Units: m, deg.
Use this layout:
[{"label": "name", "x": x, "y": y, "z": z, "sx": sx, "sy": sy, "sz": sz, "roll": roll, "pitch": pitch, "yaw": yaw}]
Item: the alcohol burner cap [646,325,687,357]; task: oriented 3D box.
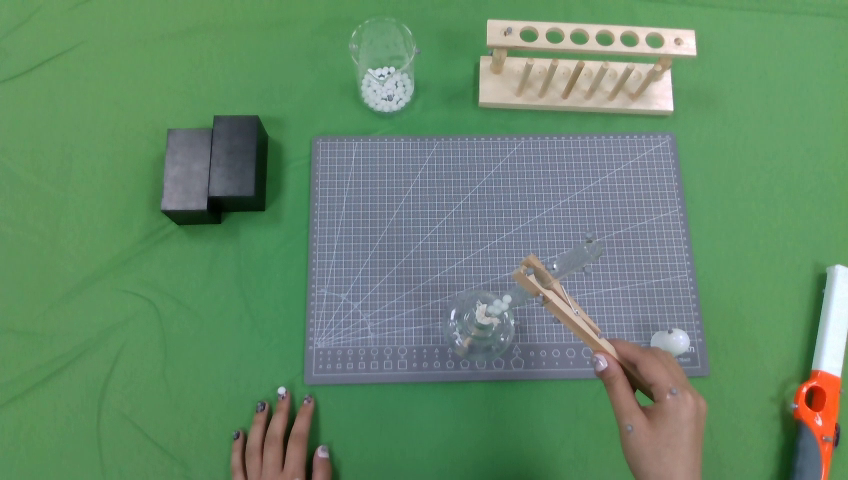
[{"label": "alcohol burner cap", "x": 0.269, "y": 0.110, "z": 0.667, "sx": 0.034, "sy": 0.048, "sz": 0.033, "roll": 1, "pitch": 73, "yaw": -1}]

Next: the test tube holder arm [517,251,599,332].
[{"label": "test tube holder arm", "x": 0.110, "y": 0.045, "z": 0.495, "sx": 0.088, "sy": 0.015, "sz": 0.010, "roll": 48, "pitch": 53, "yaw": -5}]

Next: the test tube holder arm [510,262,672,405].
[{"label": "test tube holder arm", "x": 0.139, "y": 0.080, "z": 0.498, "sx": 0.179, "sy": 0.015, "sz": 0.013, "roll": 42, "pitch": 55, "yaw": -9}]

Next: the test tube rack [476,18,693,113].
[{"label": "test tube rack", "x": 0.189, "y": -0.209, "z": 0.736, "sx": 0.242, "sy": 0.085, "sz": 0.066, "roll": 3, "pitch": 74, "yaw": -1}]

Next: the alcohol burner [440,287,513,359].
[{"label": "alcohol burner", "x": 0.057, "y": 0.083, "z": 0.631, "sx": 0.078, "sy": 0.119, "sz": 0.077, "roll": 1, "pitch": 73, "yaw": -3}]

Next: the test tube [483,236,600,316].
[{"label": "test tube", "x": 0.089, "y": 0.033, "z": 0.493, "sx": 0.017, "sy": 0.150, "sz": 0.017, "roll": 12, "pitch": 61, "yaw": -22}]

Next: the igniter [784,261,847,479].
[{"label": "igniter", "x": 0.438, "y": 0.154, "z": 0.669, "sx": 0.057, "sy": 0.025, "sz": 0.275, "roll": 22, "pitch": 75, "yaw": -5}]

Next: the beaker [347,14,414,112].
[{"label": "beaker", "x": -0.049, "y": -0.202, "z": 0.720, "sx": 0.074, "sy": 0.101, "sz": 0.083, "roll": 2, "pitch": 74, "yaw": -1}]
